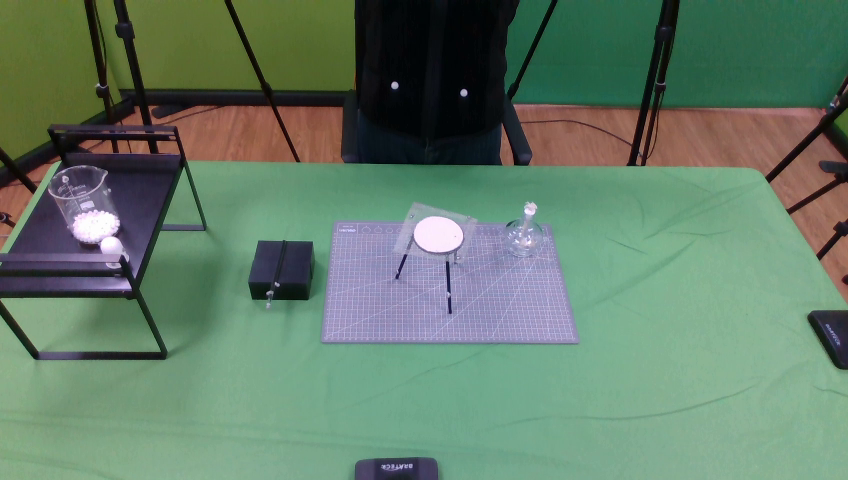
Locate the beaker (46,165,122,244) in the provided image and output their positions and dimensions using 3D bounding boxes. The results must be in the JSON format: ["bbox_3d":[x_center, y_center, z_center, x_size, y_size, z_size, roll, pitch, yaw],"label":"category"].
[{"bbox_3d":[-0.499,-0.051,0.905,0.073,0.101,0.084,35,53,26],"label":"beaker"}]

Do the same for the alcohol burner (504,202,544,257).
[{"bbox_3d":[0.195,-0.025,1.170,0.078,0.120,0.077,2,44,-2],"label":"alcohol burner"}]

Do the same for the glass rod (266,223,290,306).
[{"bbox_3d":[-0.260,0.039,1.083,0.008,0.008,0.198,3,46,-1],"label":"glass rod"}]

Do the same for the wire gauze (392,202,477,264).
[{"bbox_3d":[0.021,-0.011,1.037,0.121,0.011,0.124,14,47,8],"label":"wire gauze"}]

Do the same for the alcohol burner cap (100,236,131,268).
[{"bbox_3d":[-0.452,0.016,0.883,0.034,0.048,0.033,1,48,-1],"label":"alcohol burner cap"}]

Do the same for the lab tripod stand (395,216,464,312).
[{"bbox_3d":[0.023,0.036,1.084,0.148,0.132,0.147,4,46,-4],"label":"lab tripod stand"}]
